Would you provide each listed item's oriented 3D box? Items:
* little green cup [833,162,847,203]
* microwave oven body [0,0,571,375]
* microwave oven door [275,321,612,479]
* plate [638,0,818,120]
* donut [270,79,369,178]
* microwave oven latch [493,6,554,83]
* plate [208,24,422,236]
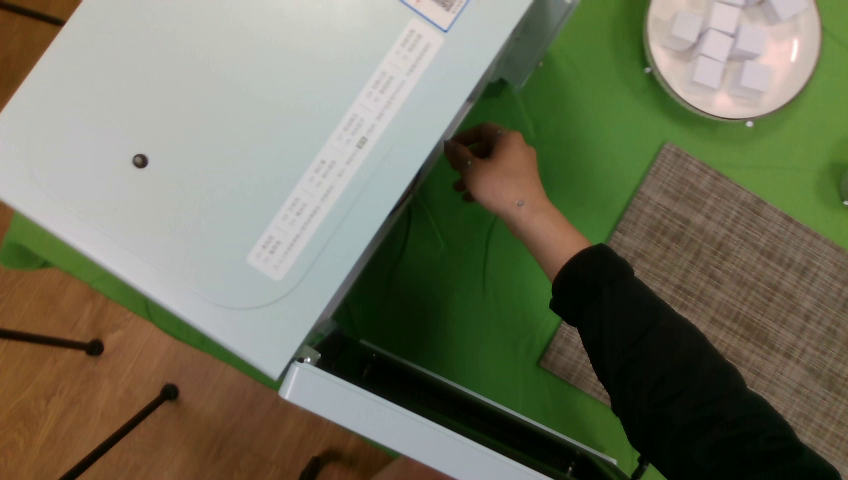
[{"bbox_3d":[0.517,-0.069,0.711,0.061,0.038,0.061,0,87,-4],"label":"little green cup"},{"bbox_3d":[-0.105,-0.154,0.561,0.326,0.260,0.441,34,87,-2],"label":"microwave oven body"},{"bbox_3d":[0.051,0.176,0.556,0.356,0.244,0.039,26,86,-2],"label":"microwave oven door"},{"bbox_3d":[0.348,-0.240,0.706,0.208,0.039,0.207,0,88,-3],"label":"plate"},{"bbox_3d":[-0.103,-0.110,0.601,0.099,0.048,0.099,0,88,-3],"label":"donut"},{"bbox_3d":[0.111,-0.215,0.673,0.030,0.029,0.079,37,87,-2],"label":"microwave oven latch"},{"bbox_3d":[-0.106,-0.108,0.609,0.209,0.038,0.209,0,91,-4],"label":"plate"}]
